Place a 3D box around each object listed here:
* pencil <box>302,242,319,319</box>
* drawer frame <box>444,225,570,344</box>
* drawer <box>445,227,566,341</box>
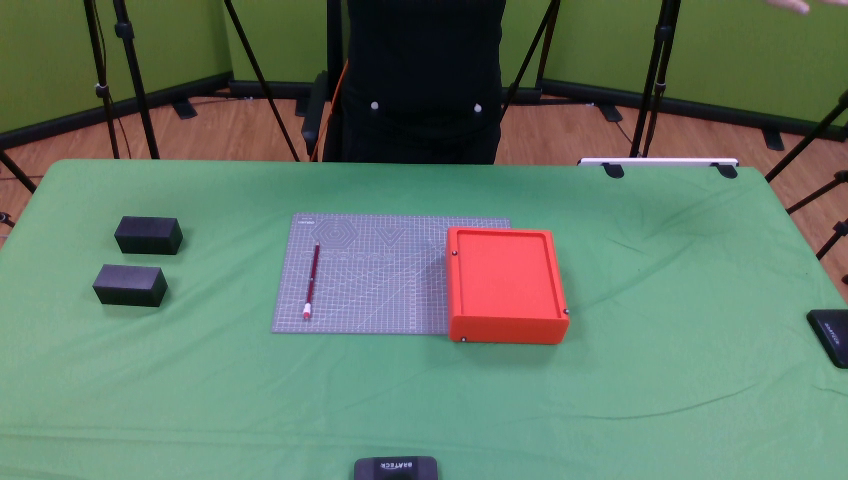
[{"bbox_3d":[-0.208,0.070,1.119,0.012,0.012,0.193,2,43,-2],"label":"pencil"},{"bbox_3d":[0.141,0.077,1.088,0.202,0.083,0.212,2,47,-4],"label":"drawer frame"},{"bbox_3d":[0.139,0.076,1.091,0.195,0.073,0.210,3,47,-3],"label":"drawer"}]
